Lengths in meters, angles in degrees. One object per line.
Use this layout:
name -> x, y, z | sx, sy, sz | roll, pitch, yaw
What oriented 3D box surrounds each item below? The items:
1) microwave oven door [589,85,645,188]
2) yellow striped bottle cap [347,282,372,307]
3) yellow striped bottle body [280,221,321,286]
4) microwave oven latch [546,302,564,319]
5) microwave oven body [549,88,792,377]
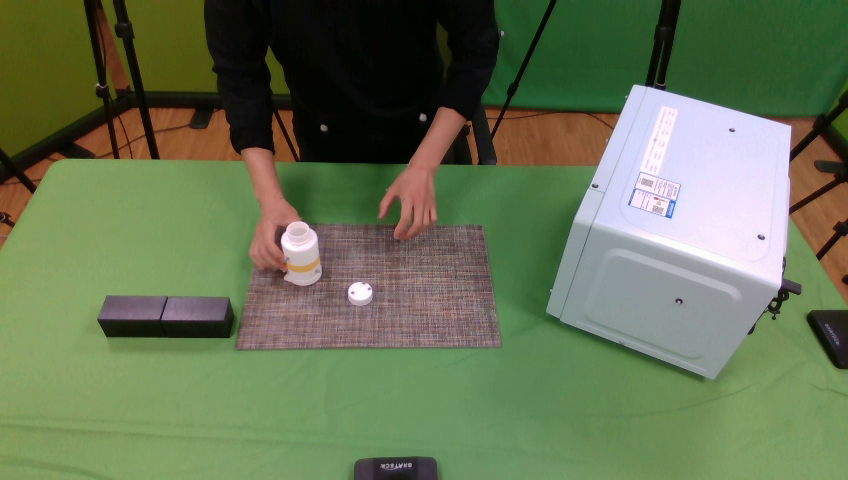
microwave oven door -> 0.341, -0.107, 1.148 | 0.039, 0.245, 0.354 | 20, 48, 15
yellow striped bottle cap -> -0.117, 0.098, 1.093 | 0.044, 0.019, 0.044 | 3, 45, -2
yellow striped bottle body -> -0.221, 0.022, 1.081 | 0.063, 0.121, 0.062 | 1, 47, -1
microwave oven latch -> 0.242, 0.102, 1.081 | 0.030, 0.029, 0.079 | 21, 48, 17
microwave oven body -> 0.456, -0.028, 1.088 | 0.325, 0.261, 0.440 | 20, 47, 16
